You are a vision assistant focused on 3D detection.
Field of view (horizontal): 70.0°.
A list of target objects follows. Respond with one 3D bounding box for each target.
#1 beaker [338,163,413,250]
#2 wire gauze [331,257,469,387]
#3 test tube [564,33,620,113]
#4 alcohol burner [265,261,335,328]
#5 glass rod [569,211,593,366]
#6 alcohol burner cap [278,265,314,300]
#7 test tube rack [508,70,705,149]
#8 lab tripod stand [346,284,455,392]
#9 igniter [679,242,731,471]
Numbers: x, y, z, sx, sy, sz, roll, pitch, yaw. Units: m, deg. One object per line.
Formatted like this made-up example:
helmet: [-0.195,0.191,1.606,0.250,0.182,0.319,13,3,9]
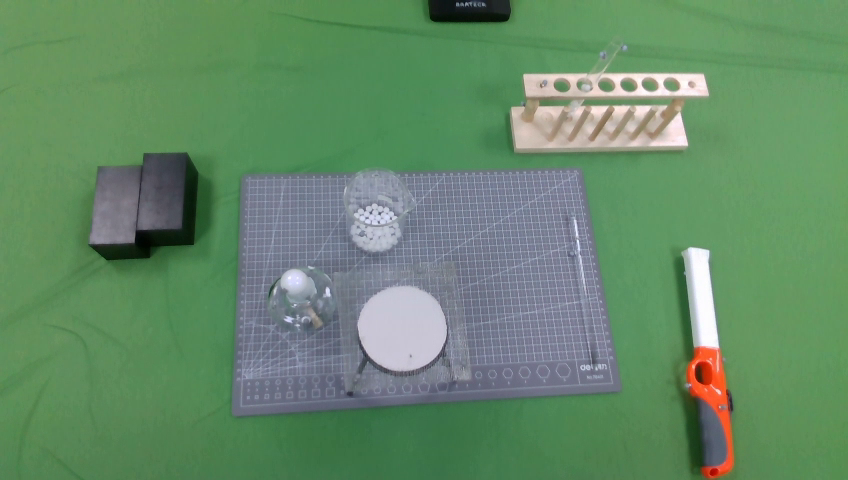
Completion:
beaker: [-0.057,-0.035,0.720,0.084,0.101,0.073,6,69,-3]
wire gauze: [-0.024,0.078,0.591,0.125,0.011,0.120,-5,69,-7]
test tube: [0.207,-0.207,0.768,0.017,0.151,0.017,4,67,-9]
alcohol burner: [-0.139,0.055,0.671,0.078,0.120,0.077,2,67,-4]
glass rod: [0.196,0.057,0.759,0.008,0.008,0.198,-1,72,-6]
alcohol burner cap: [-0.136,0.043,0.637,0.034,0.048,0.033,0,74,1]
test tube rack: [0.242,-0.174,0.812,0.243,0.085,0.066,-2,69,-6]
lab tripod stand: [-0.029,0.105,0.652,0.148,0.132,0.147,1,68,-3]
igniter: [0.339,0.135,0.736,0.057,0.025,0.274,9,69,-13]
